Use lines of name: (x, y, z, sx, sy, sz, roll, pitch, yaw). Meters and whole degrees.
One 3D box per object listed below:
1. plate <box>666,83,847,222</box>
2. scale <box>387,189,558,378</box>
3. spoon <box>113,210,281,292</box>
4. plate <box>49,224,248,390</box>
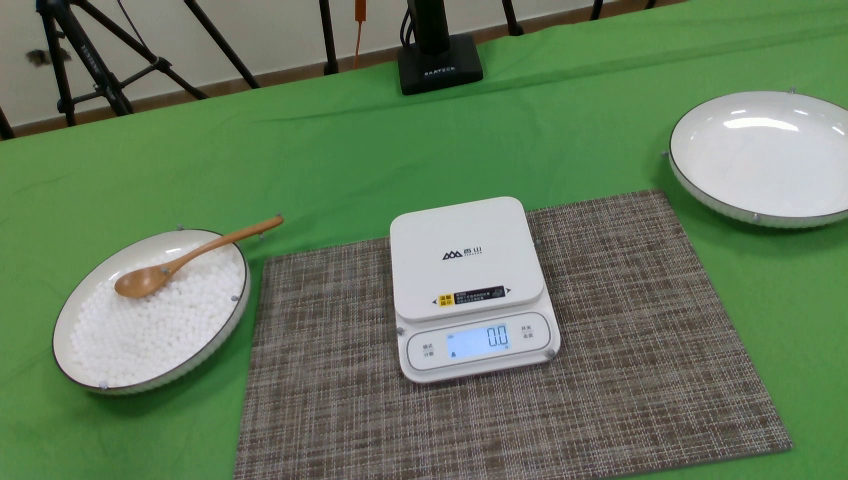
plate: (0.365, -0.091, 0.642, 0.207, 0.039, 0.205, -7, 47, 7)
scale: (0.040, 0.035, 0.601, 0.148, 0.032, 0.198, -11, 48, 3)
spoon: (-0.248, 0.010, 0.668, 0.194, 0.022, 0.041, -26, 47, -1)
plate: (-0.285, 0.069, 0.645, 0.209, 0.038, 0.207, -6, 48, 7)
